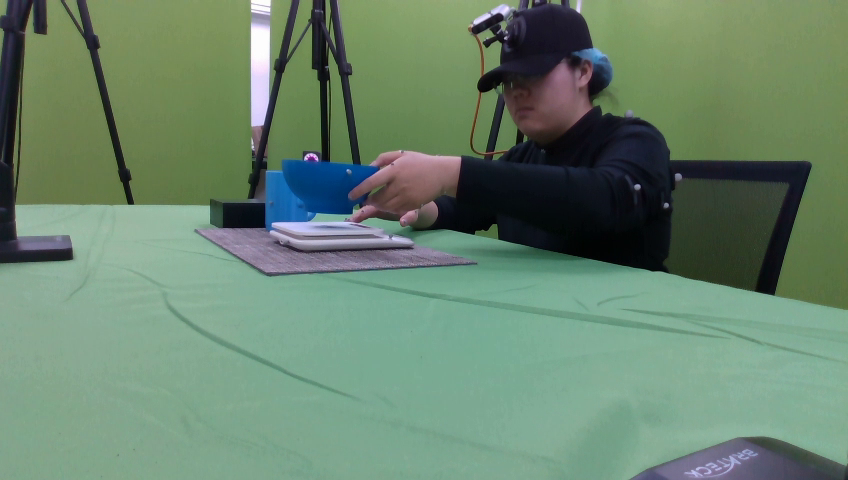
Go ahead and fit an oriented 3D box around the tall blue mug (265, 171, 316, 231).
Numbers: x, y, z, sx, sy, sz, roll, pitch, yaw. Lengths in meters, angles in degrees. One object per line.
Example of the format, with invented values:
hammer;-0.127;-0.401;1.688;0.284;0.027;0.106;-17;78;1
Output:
tall blue mug;-0.248;-0.073;1.121;0.078;0.108;0.107;3;7;8

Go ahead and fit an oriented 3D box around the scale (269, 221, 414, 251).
scale;-0.130;-0.008;0.959;0.202;0.031;0.148;-1;9;-32

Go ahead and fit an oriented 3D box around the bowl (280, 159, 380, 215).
bowl;-0.146;-0.080;0.930;0.151;0.077;0.151;4;6;0
